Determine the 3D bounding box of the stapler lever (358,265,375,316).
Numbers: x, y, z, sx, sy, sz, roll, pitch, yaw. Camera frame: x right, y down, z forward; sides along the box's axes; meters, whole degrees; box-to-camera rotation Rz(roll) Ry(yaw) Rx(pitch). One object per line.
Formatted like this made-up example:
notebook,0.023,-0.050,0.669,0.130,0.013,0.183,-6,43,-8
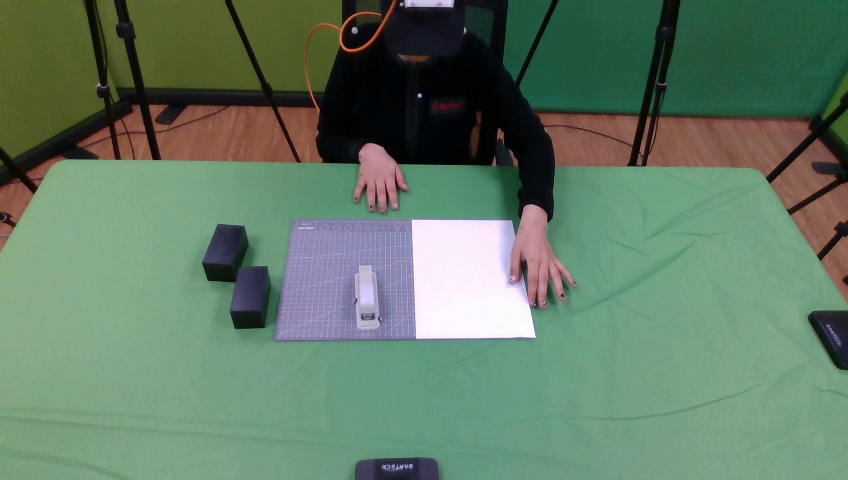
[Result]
stapler lever,-0.102,0.083,1.070,0.027,0.040,0.117,-1,45,-7

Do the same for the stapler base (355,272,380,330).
stapler base,-0.103,0.102,1.087,0.041,0.024,0.129,-1,45,-8
